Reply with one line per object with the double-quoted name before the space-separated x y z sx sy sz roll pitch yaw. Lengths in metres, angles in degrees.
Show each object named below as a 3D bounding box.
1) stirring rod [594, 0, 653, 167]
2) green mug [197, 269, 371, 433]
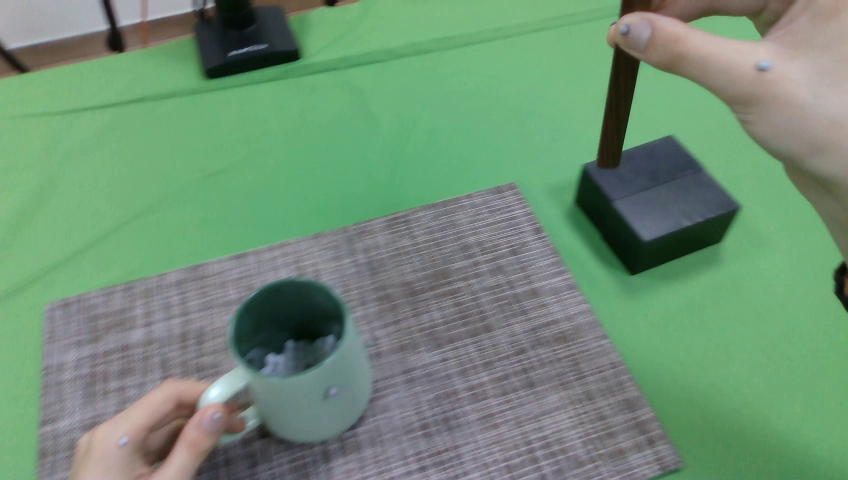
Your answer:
"stirring rod" 0.099 -0.097 0.290 0.014 0.178 0.005 1 54 8
"green mug" -0.100 0.091 0.432 0.125 0.106 0.091 -35 60 -23
